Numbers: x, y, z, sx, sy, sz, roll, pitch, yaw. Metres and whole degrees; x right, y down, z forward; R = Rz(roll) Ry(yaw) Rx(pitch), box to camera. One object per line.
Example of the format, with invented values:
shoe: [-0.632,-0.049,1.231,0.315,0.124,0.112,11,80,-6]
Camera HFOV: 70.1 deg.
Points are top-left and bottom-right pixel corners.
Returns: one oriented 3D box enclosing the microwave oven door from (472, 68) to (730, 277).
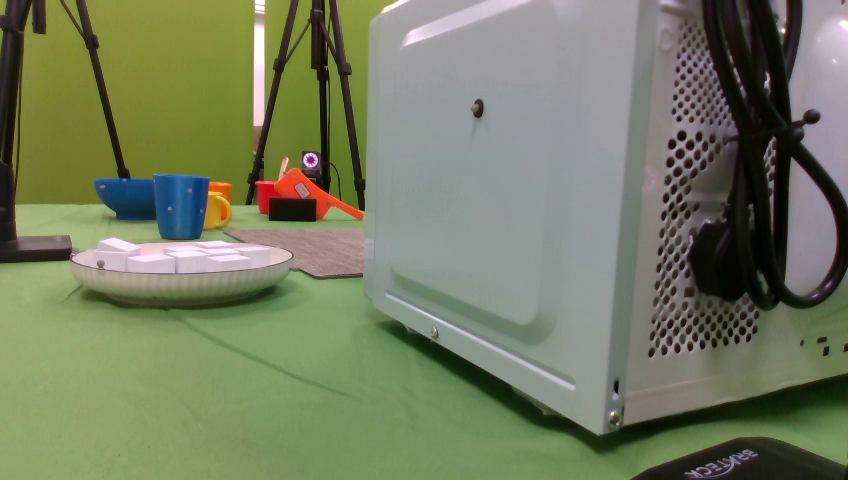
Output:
microwave oven door: [0.214,-0.096,0.820,0.039,0.243,0.354,-6,11,-44]

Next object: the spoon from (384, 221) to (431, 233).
spoon: [-0.024,-0.029,1.188,0.041,0.021,0.194,-13,0,23]

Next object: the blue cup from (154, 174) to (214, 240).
blue cup: [-0.391,-0.053,0.978,0.093,0.100,0.092,3,6,0]

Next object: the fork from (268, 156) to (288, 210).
fork: [-0.360,-0.144,1.508,0.028,0.018,0.207,1,49,0]

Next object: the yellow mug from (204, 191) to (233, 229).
yellow mug: [-0.415,-0.057,1.132,0.130,0.064,0.100,6,8,16]

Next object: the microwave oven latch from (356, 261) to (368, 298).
microwave oven latch: [-0.019,0.033,0.529,0.079,0.029,0.030,0,7,-25]

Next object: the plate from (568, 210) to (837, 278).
plate: [0.229,0.000,0.519,0.209,0.038,0.209,2,7,0]

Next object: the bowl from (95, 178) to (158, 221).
bowl: [-0.576,-0.081,1.217,0.151,0.077,0.151,3,8,0]

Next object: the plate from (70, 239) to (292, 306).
plate: [-0.242,0.031,0.618,0.208,0.039,0.207,3,8,0]

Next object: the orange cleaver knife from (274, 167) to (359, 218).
orange cleaver knife: [-0.238,-0.091,1.381,0.212,0.077,0.012,31,0,-19]

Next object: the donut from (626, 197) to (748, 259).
donut: [0.223,-0.010,0.519,0.099,0.048,0.099,7,9,-1]

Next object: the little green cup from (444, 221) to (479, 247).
little green cup: [0.064,-0.011,1.035,0.061,0.038,0.061,1,9,0]

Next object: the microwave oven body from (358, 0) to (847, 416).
microwave oven body: [0.211,-0.047,0.474,0.444,0.260,0.324,-1,7,-28]
